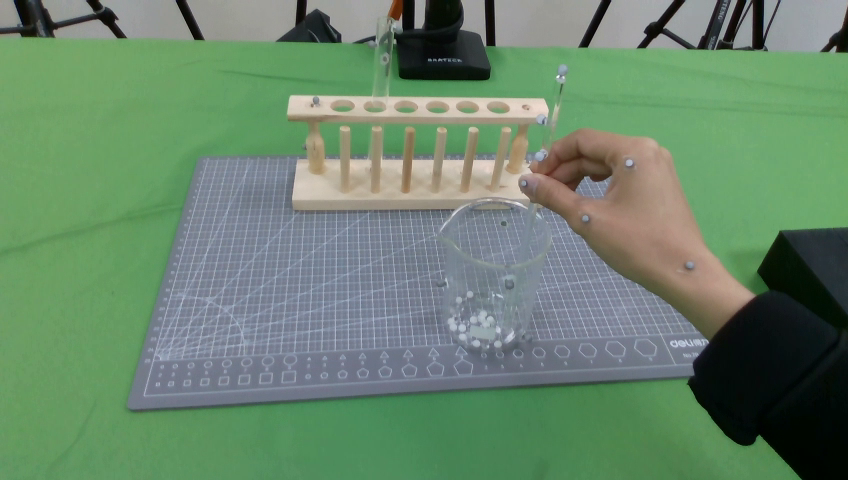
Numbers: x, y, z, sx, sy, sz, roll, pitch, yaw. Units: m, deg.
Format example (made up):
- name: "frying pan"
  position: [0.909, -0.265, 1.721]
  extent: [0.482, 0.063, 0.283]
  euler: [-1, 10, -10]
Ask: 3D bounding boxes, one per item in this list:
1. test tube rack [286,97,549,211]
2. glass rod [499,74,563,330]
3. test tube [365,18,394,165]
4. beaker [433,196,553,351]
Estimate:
- name: "test tube rack"
  position: [-0.006, -0.082, 0.581]
  extent: [0.243, 0.086, 0.066]
  euler: [-1, 43, -6]
- name: "glass rod"
  position: [0.069, -0.014, 0.411]
  extent: [0.008, 0.201, 0.008]
  euler: [5, 34, -3]
- name: "test tube"
  position: [-0.042, -0.128, 0.554]
  extent: [0.017, 0.151, 0.017]
  euler: [5, 44, -5]
- name: "beaker"
  position: [0.047, 0.029, 0.455]
  extent: [0.084, 0.101, 0.073]
  euler: [0, 43, -3]
